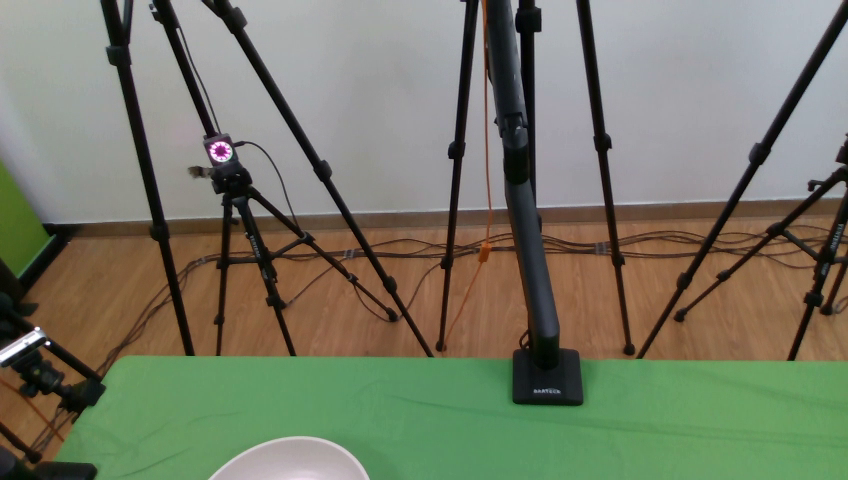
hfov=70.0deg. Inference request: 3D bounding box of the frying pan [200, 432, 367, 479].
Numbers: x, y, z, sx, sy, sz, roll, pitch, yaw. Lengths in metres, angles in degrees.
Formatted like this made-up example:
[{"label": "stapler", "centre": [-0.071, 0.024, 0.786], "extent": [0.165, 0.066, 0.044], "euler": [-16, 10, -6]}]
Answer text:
[{"label": "frying pan", "centre": [-0.210, 0.479, 0.799], "extent": [0.307, 0.103, 0.483], "euler": [-8, 32, 2]}]
